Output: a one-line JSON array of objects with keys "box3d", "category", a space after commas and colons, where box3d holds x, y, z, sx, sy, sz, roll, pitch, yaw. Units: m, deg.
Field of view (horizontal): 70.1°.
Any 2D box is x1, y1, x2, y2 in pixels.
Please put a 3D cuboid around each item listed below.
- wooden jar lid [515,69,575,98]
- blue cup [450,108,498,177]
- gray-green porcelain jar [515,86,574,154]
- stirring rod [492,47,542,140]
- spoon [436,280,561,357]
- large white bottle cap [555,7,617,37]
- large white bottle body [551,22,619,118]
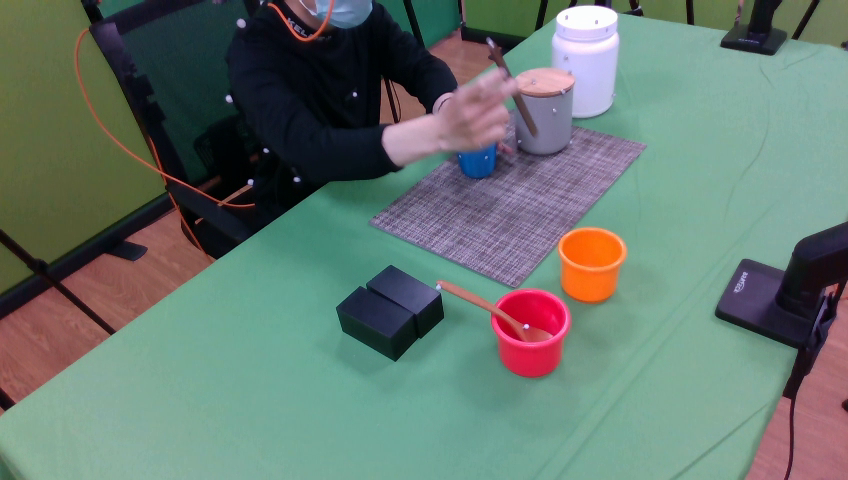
[{"box3d": [0.216, -0.279, 1.088, 0.108, 0.021, 0.108, -3, 38, 3], "category": "wooden jar lid"}, {"box3d": [0.094, -0.171, 1.091, 0.092, 0.101, 0.092, -5, 43, 5], "category": "blue cup"}, {"box3d": [0.223, -0.232, 1.129, 0.106, 0.127, 0.105, -4, 40, 4], "category": "gray-green porcelain jar"}, {"box3d": [0.132, -0.200, 0.840, 0.005, 0.177, 0.014, 11, 65, 38], "category": "stirring rod"}, {"box3d": [0.096, 0.095, 0.757, 0.195, 0.021, 0.041, 33, 42, -20], "category": "spoon"}, {"box3d": [0.311, -0.420, 1.163, 0.115, 0.018, 0.114, -4, 40, 4], "category": "large white bottle cap"}, {"box3d": [0.321, -0.356, 1.218, 0.130, 0.185, 0.130, -4, 41, 4], "category": "large white bottle body"}]
